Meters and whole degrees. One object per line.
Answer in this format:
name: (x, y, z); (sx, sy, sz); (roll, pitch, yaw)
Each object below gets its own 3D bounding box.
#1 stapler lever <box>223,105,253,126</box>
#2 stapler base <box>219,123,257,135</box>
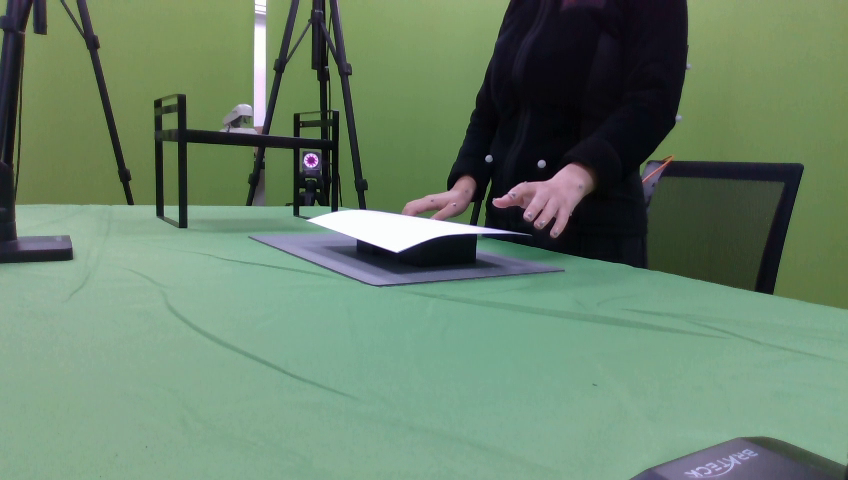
stapler lever: (-0.376, -0.250, 1.219); (0.027, 0.040, 0.117); (1, 6, -36)
stapler base: (-0.375, -0.226, 1.221); (0.041, 0.024, 0.130); (1, 5, -36)
